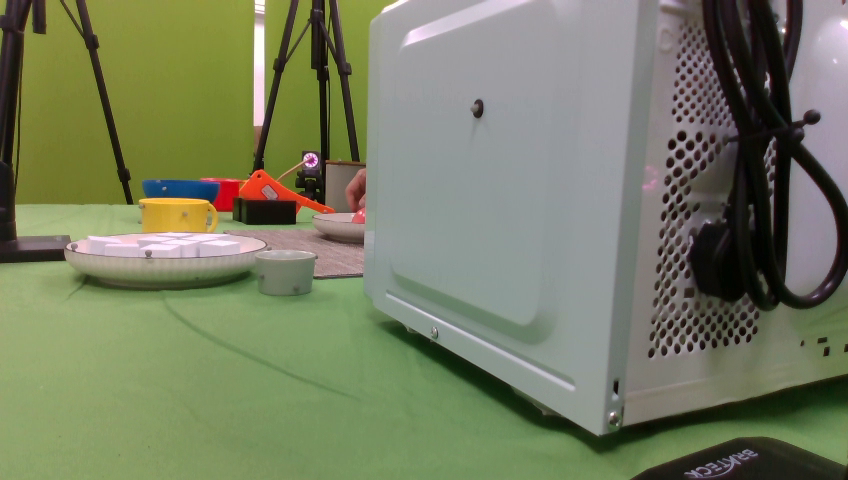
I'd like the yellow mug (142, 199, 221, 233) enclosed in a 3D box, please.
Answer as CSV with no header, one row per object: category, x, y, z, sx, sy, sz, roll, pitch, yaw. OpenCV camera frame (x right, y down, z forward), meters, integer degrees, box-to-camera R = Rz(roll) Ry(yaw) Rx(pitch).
yellow mug,-0.373,-0.030,0.948,0.099,0.064,0.131,6,8,30

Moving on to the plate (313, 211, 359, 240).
plate,-0.091,-0.026,1.063,0.209,0.038,0.209,2,7,0

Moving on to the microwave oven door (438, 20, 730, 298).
microwave oven door,0.181,-0.076,0.618,0.358,0.243,0.039,-2,8,-28

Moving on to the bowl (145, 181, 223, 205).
bowl,-0.499,-0.081,1.261,0.151,0.077,0.151,2,8,0

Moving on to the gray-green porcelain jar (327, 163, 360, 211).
gray-green porcelain jar,-0.187,-0.125,1.490,0.106,0.126,0.106,2,8,0

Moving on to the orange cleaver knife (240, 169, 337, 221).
orange cleaver knife,-0.287,-0.082,1.299,0.212,0.077,0.012,25,-2,-31

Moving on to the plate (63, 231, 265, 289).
plate,-0.288,0.021,0.687,0.208,0.039,0.207,2,8,0

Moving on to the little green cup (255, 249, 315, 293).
little green cup,-0.144,0.031,0.627,0.061,0.038,0.061,2,6,0

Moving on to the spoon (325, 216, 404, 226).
spoon,-0.120,-0.043,1.273,0.195,0.021,0.041,-5,-10,-38

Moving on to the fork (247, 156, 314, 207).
fork,-0.360,-0.147,1.523,0.207,0.019,0.028,-43,17,-7

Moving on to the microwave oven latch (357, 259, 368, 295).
microwave oven latch,-0.019,0.031,0.529,0.079,0.029,0.030,-1,7,-26

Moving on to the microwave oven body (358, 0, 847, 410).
microwave oven body,0.210,-0.051,0.471,0.444,0.260,0.324,-1,7,-28

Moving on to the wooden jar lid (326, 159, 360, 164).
wooden jar lid,-0.185,-0.187,1.481,0.108,0.020,0.108,4,6,0

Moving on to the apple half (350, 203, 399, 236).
apple half,-0.082,-0.036,1.024,0.081,0.053,0.074,-3,11,-34

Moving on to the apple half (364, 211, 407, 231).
apple half,-0.068,-0.037,1.103,0.081,0.033,0.081,-1,10,0
